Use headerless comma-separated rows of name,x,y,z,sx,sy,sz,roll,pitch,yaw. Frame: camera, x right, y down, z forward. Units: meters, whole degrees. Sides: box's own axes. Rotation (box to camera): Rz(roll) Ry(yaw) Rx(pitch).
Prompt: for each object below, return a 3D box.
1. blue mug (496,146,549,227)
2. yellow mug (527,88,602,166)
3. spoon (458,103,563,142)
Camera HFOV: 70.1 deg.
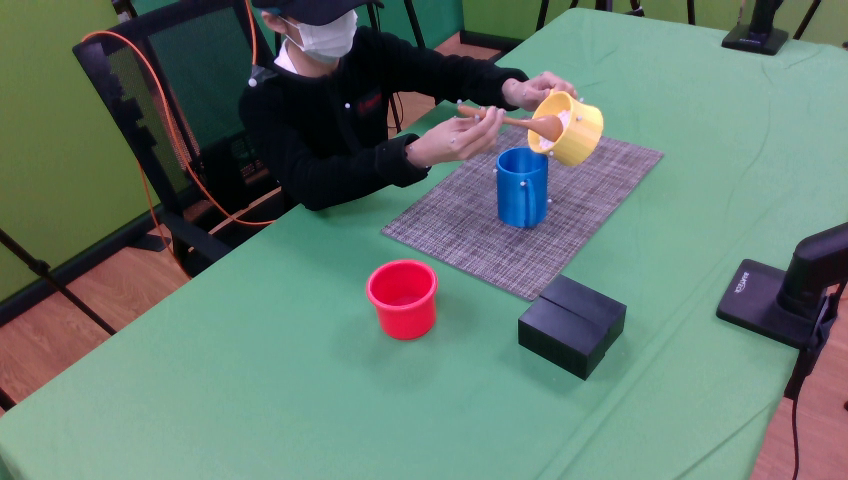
blue mug,0.162,-0.076,0.969,0.082,0.106,0.116,-9,40,-1
yellow mug,0.217,-0.186,0.947,0.064,0.099,0.130,19,56,-27
spoon,0.129,-0.171,0.872,0.195,0.041,0.021,5,-6,-28
